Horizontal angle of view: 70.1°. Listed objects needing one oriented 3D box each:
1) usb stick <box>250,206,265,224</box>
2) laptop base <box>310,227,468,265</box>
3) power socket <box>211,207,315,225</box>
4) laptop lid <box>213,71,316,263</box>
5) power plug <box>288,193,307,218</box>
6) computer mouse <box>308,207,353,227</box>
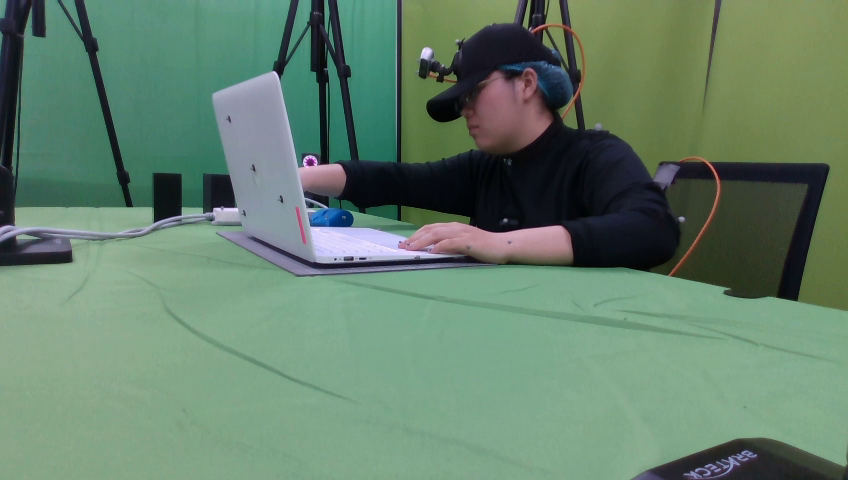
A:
[{"bbox_3d":[-0.303,-0.044,1.099,0.021,0.027,0.059,3,14,-22],"label":"usb stick"},{"bbox_3d":[-0.122,0.007,0.954,0.237,0.023,0.352,2,6,-31],"label":"laptop base"},{"bbox_3d":[-0.335,-0.052,1.282,0.228,0.032,0.072,-2,9,-28],"label":"power socket"},{"bbox_3d":[-0.241,-0.104,0.865,0.013,0.241,0.355,-16,17,-28],"label":"laptop lid"},{"bbox_3d":[-0.281,-0.076,1.341,0.035,0.052,0.072,3,6,-19],"label":"power plug"},{"bbox_3d":[-0.202,-0.046,1.275,0.062,0.041,0.117,9,14,23],"label":"computer mouse"}]
